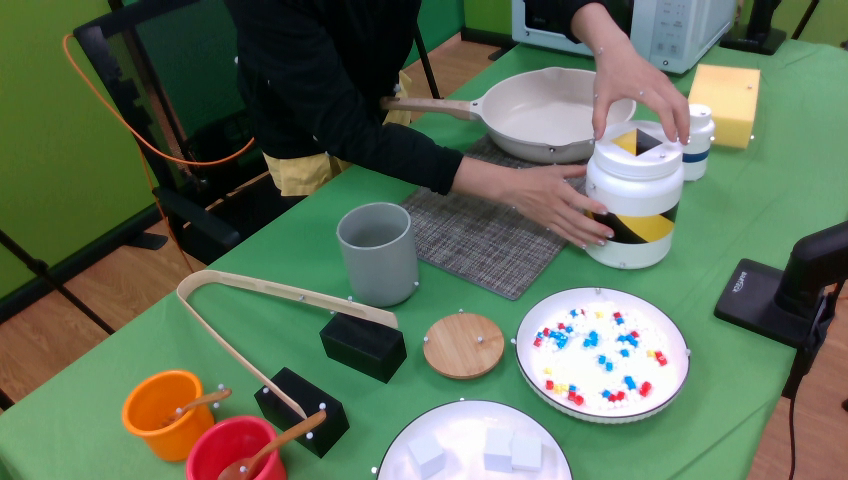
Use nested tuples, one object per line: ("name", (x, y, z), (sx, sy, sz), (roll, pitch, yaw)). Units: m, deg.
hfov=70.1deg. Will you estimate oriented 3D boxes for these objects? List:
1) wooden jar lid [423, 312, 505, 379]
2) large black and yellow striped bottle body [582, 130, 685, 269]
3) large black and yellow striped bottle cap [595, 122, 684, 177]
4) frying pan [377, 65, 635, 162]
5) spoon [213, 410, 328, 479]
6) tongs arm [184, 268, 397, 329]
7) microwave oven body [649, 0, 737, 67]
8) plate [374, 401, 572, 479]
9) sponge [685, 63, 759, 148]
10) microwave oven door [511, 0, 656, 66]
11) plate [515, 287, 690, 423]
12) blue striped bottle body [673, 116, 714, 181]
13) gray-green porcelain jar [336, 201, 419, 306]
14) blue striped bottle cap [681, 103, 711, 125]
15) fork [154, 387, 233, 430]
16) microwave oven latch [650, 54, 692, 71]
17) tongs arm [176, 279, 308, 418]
("wooden jar lid", (0.053, 0.142, 0.800), (0.108, 0.021, 0.108), (-4, 39, 4))
("large black and yellow striped bottle body", (0.301, -0.064, 0.877), (0.131, 0.185, 0.130), (-4, 41, 4))
("large black and yellow striped bottle cap", (0.292, -0.125, 0.821), (0.115, 0.019, 0.114), (-5, 40, 4))
("frying pan", (0.150, -0.255, 1.177), (0.488, 0.103, 0.306), (7, 41, 4))
("spoon", (-0.166, 0.224, 0.639), (0.193, 0.022, 0.041), (-40, 33, 29))
("tongs arm", (-0.202, 0.084, 0.848), (0.382, 0.027, 0.051), (11, 45, 35))
("microwave oven body", (0.475, -0.602, 1.411), (0.438, 0.261, 0.327), (23, 50, 32))
("plate", (0.051, 0.268, 0.639), (0.207, 0.039, 0.206), (-3, 40, 3))
("sponge", (0.569, -0.263, 1.164), (0.117, 0.061, 0.207), (13, 45, 22))
("microwave oven door", (0.350, -0.539, 1.348), (0.353, 0.245, 0.039), (24, 50, 31))
("plate", (0.220, 0.144, 0.760), (0.209, 0.038, 0.208), (-4, 40, 4))
("blue striped bottle body", (0.451, -0.166, 1.023), (0.063, 0.121, 0.063), (-5, 41, 5))
("gray-green porcelain jar", (-0.064, 0.024, 0.872), (0.106, 0.127, 0.105), (-4, 41, 4))
("blue striped bottle cap", (0.446, -0.205, 0.990), (0.044, 0.021, 0.044), (-5, 44, 5))
("fork", (-0.264, 0.191, 0.687), (0.206, 0.018, 0.028), (-33, 8, 44))
("microwave oven latch", (0.530, -0.386, 1.301), (0.078, 0.029, 0.030), (23, 50, 31))
("tongs arm", (-0.255, 0.133, 0.801), (0.028, 0.028, 0.384), (-41, 40, -23))
